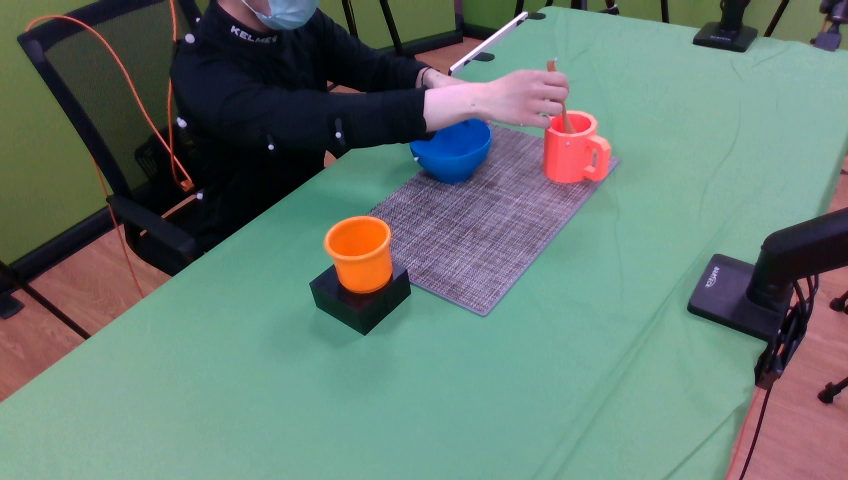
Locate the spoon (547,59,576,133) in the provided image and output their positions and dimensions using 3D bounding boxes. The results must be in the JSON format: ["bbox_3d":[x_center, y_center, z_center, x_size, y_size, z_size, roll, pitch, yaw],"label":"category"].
[{"bbox_3d":[0.229,-0.213,0.994,0.041,0.195,0.021,5,47,36],"label":"spoon"}]

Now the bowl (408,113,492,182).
[{"bbox_3d":[0.049,-0.158,1.097,0.151,0.077,0.150,-4,41,4],"label":"bowl"}]

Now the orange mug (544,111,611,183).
[{"bbox_3d":[0.266,-0.157,1.049,0.084,0.101,0.125,-33,42,-27],"label":"orange mug"}]
